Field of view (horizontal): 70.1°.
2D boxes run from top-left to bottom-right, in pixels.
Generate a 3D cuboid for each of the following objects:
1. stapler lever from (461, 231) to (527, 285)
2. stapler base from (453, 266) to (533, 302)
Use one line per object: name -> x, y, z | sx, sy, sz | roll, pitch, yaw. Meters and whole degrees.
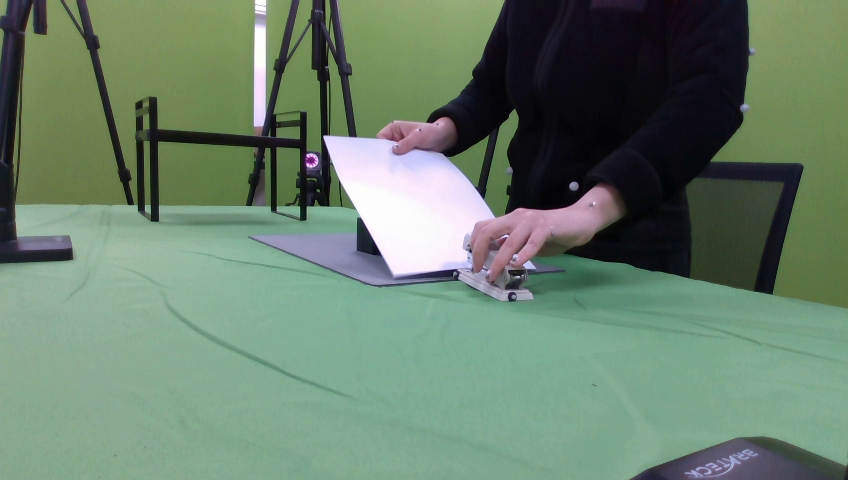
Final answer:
stapler lever -> 0.076, 0.018, 0.680 | 0.027, 0.040, 0.117 | -4, 13, -22
stapler base -> 0.074, 0.042, 0.685 | 0.041, 0.024, 0.130 | -4, 13, -22
